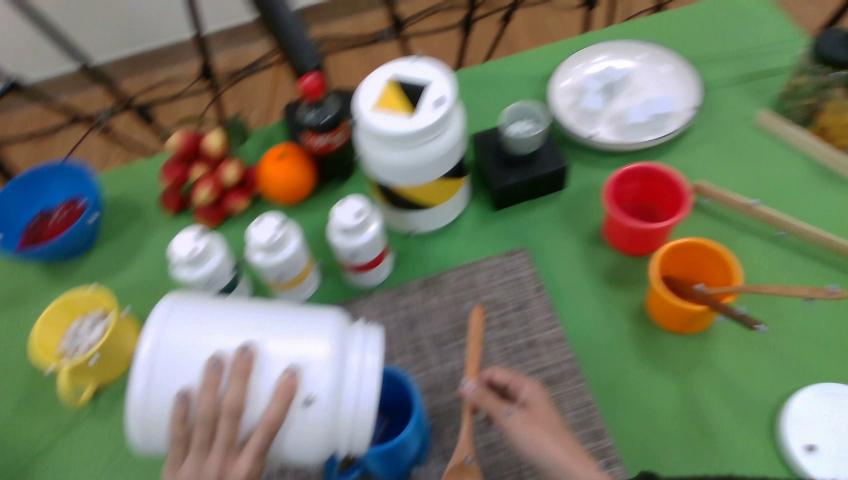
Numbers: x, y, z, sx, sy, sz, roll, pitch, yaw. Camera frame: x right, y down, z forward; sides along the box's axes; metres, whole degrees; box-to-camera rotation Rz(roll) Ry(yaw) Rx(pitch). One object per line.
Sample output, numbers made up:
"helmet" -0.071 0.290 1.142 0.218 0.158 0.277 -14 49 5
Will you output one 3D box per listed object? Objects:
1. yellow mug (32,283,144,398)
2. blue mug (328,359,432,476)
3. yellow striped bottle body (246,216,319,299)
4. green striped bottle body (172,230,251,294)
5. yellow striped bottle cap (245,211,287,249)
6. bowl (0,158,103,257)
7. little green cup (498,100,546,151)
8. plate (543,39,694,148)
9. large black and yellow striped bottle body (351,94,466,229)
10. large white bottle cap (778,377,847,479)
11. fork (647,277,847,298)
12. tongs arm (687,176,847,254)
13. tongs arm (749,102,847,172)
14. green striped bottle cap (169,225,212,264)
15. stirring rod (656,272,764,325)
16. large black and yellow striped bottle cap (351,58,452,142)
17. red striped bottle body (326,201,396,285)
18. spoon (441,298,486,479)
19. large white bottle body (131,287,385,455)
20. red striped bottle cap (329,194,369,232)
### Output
"yellow mug" -0.401 0.123 0.722 0.100 0.064 0.129 -8 57 2
"blue mug" -0.048 0.189 0.604 0.116 0.107 0.081 -42 61 -19
"yellow striped bottle body" -0.172 0.017 0.730 0.063 0.121 0.062 -4 56 6
"green striped bottle body" -0.257 0.033 0.730 0.063 0.120 0.062 -3 56 5
"yellow striped bottle cap" -0.179 -0.011 0.686 0.044 0.019 0.044 -1 52 2
"bowl" -0.503 -0.031 0.829 0.151 0.077 0.150 -3 56 5
"little green cup" 0.126 -0.148 0.788 0.061 0.039 0.061 -2 54 4
"plate" 0.275 -0.207 0.871 0.209 0.038 0.207 -3 57 5
"large black and yellow striped bottle body" -0.017 -0.114 0.758 0.130 0.186 0.129 -3 56 5
"large white bottle cap" 0.416 0.192 0.601 0.115 0.018 0.113 -3 56 5
"fork" 0.323 0.049 0.628 0.028 0.019 0.206 -51 21 -24
"tongs arm" 0.505 -0.004 0.708 0.382 0.027 0.050 29 61 23
"tongs arm" 0.567 -0.061 0.742 0.028 0.028 0.383 -31 58 -22
"green striped bottle cap" -0.264 0.005 0.687 0.044 0.020 0.044 -3 55 4
"stirring rod" 0.293 0.058 0.634 0.014 0.006 0.175 -14 13 -5
"large black and yellow striped bottle cap" -0.026 -0.160 0.686 0.115 0.019 0.114 -4 58 8
"red striped bottle body" -0.078 -0.002 0.731 0.063 0.121 0.062 -7 54 10
"spoon" 0.042 0.147 0.545 0.041 0.022 0.193 4 77 10
"large white bottle body" -0.131 0.113 0.514 0.185 0.131 0.129 7 56 -9
"red striped bottle cap" -0.085 -0.032 0.687 0.044 0.018 0.044 -1 54 2
